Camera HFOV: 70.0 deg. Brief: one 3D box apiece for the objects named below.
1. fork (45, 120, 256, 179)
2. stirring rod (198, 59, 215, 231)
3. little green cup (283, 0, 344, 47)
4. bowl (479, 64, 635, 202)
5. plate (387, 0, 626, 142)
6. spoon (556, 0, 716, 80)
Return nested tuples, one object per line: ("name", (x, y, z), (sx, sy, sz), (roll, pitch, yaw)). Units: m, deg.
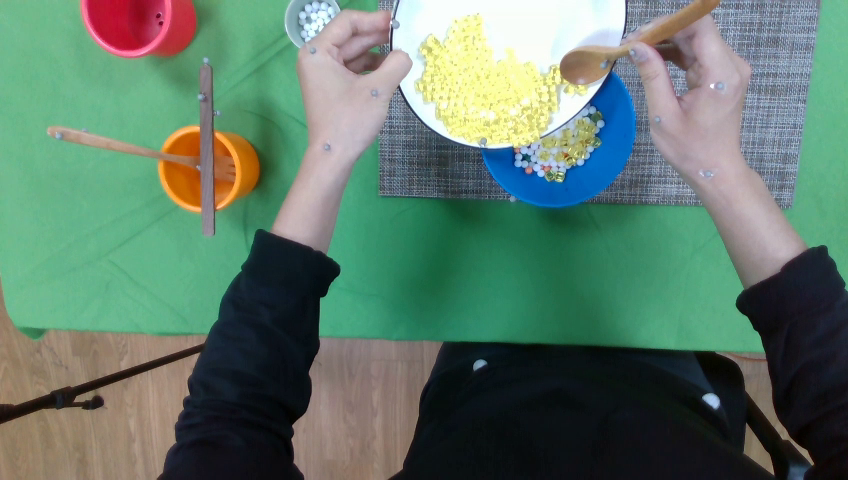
("fork", (-0.276, -0.094, 0.635), (0.209, 0.018, 0.028), (10, 110, -40))
("stirring rod", (-0.225, -0.095, 0.627), (0.014, 0.006, 0.176), (4, 103, 4))
("little green cup", (-0.114, -0.235, 0.644), (0.061, 0.038, 0.062), (1, 103, 7))
("bowl", (0.130, -0.119, 0.620), (0.151, 0.076, 0.152), (1, 104, 4))
("plate", (0.069, -0.184, 0.525), (0.209, 0.037, 0.211), (-7, 131, -8))
("spoon", (0.159, -0.155, 0.471), (0.042, 0.193, 0.021), (27, 87, -15))
